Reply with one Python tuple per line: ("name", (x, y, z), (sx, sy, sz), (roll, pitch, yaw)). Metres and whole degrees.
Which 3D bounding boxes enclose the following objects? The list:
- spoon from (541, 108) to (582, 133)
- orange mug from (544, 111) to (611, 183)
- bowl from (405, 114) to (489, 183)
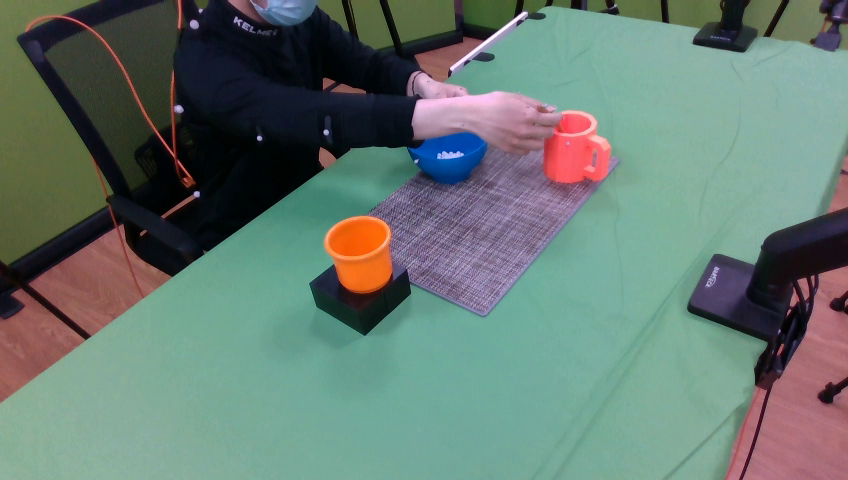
("spoon", (0.227, -0.187, 1.009), (0.021, 0.041, 0.195), (43, 16, 30))
("orange mug", (0.266, -0.157, 1.049), (0.084, 0.101, 0.125), (-33, 42, -27))
("bowl", (0.044, -0.156, 1.095), (0.151, 0.077, 0.150), (-4, 41, 4))
